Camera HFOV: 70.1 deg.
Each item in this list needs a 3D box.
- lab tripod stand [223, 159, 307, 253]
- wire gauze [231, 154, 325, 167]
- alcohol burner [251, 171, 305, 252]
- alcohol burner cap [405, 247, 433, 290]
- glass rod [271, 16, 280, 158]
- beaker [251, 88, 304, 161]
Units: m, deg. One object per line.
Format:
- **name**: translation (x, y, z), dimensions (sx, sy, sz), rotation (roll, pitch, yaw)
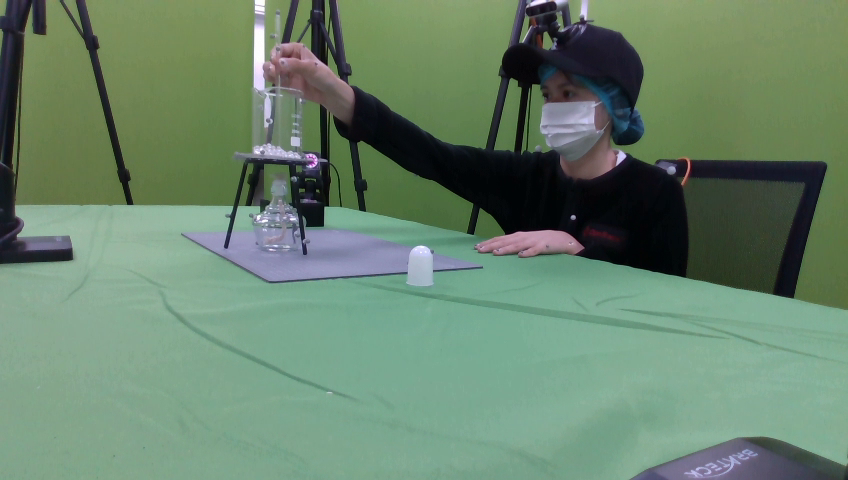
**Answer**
- **lab tripod stand**: translation (-0.220, -0.053, 0.896), dimensions (0.148, 0.131, 0.148), rotation (1, 6, 0)
- **wire gauze**: translation (-0.215, -0.117, 0.882), dimensions (0.125, 0.011, 0.121), rotation (3, 7, -19)
- **alcohol burner**: translation (-0.214, -0.042, 0.888), dimensions (0.078, 0.119, 0.078), rotation (2, 9, 0)
- **alcohol burner cap**: translation (-0.005, 0.031, 0.698), dimensions (0.034, 0.048, 0.034), rotation (3, 8, 0)
- **glass rod**: translation (-0.210, -0.215, 0.852), dimensions (0.008, 0.199, 0.008), rotation (2, 1, 0)
- **beaker**: translation (-0.214, -0.165, 0.874), dimensions (0.074, 0.100, 0.084), rotation (4, 6, 15)
